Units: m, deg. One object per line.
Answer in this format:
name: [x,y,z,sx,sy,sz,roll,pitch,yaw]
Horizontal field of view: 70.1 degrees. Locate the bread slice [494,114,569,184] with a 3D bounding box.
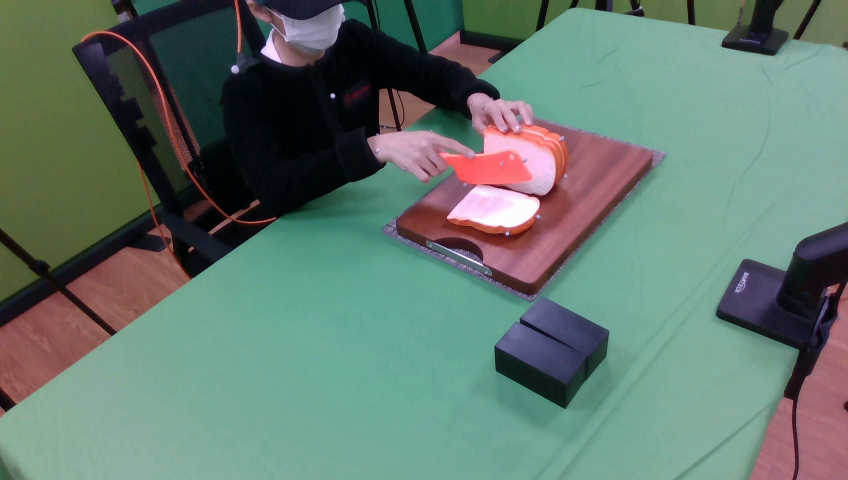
bread slice: [0.176,-0.144,1.014,0.133,0.107,0.018,23,49,21]

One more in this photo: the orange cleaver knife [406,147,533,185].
orange cleaver knife: [0.071,-0.118,0.975,0.210,0.078,0.012,4,51,28]

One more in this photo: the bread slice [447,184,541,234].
bread slice: [0.117,-0.047,0.964,0.130,0.019,0.105,17,44,31]
